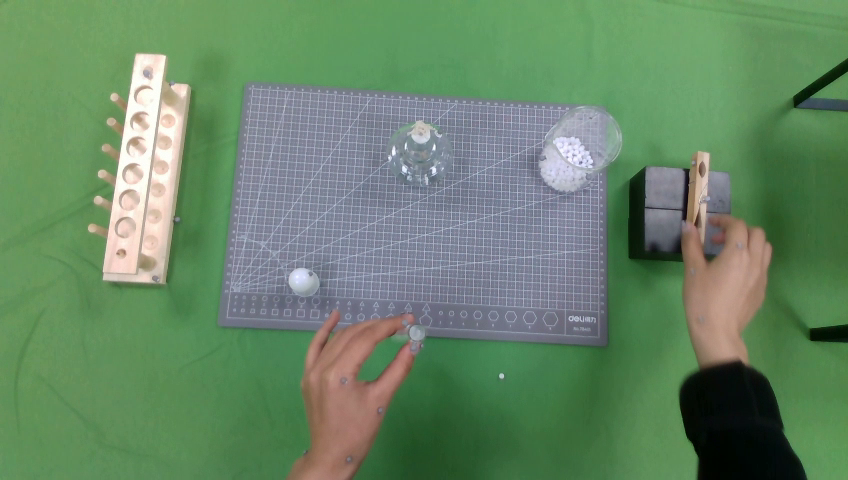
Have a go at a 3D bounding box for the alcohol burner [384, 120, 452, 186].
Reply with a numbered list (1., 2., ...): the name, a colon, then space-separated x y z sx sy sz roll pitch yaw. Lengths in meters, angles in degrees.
1. alcohol burner: -0.007 -0.104 0.682 0.078 0.119 0.077 0 79 -1

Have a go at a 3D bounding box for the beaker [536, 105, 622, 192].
1. beaker: 0.171 -0.100 0.699 0.084 0.100 0.073 2 78 -1

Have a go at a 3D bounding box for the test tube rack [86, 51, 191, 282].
1. test tube rack: -0.322 -0.080 0.677 0.067 0.085 0.241 4 79 -2

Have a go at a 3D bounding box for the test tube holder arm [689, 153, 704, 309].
1. test tube holder arm: 0.309 -0.011 0.687 0.013 0.015 0.177 4 80 -1

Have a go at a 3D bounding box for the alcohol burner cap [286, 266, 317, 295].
1. alcohol burner cap: -0.141 0.044 0.683 0.034 0.048 0.033 1 80 -4

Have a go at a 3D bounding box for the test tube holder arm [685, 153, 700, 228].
1. test tube holder arm: 0.307 -0.056 0.694 0.010 0.015 0.087 6 80 0

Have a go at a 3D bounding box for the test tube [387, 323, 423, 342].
1. test tube: -0.019 0.086 0.559 0.017 0.150 0.017 2 80 -9
